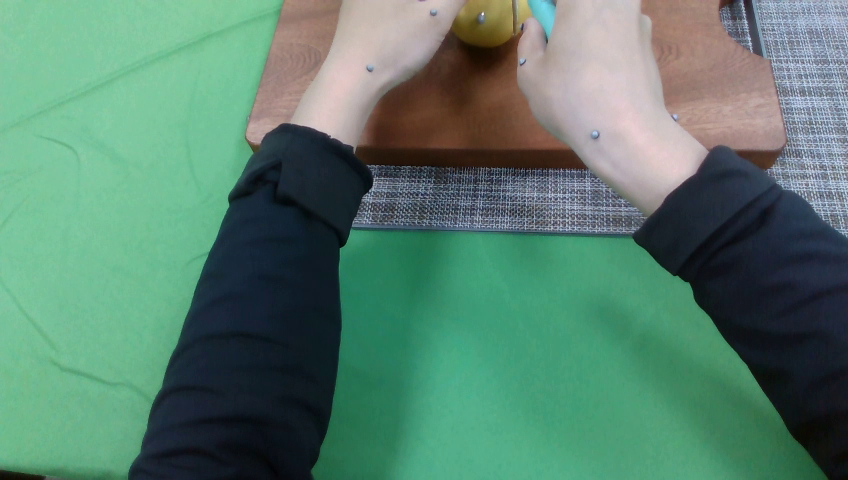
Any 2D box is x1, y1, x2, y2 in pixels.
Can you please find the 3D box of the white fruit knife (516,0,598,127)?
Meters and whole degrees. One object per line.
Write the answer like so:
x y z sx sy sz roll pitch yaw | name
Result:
0.069 -0.164 0.412 0.016 0.027 0.205 -19 64 -4 | white fruit knife

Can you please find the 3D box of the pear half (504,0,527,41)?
0.070 -0.199 0.466 0.031 0.089 0.069 -16 59 -6 | pear half

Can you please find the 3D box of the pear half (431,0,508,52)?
0.032 -0.195 0.457 0.056 0.111 0.075 -17 57 -1 | pear half
